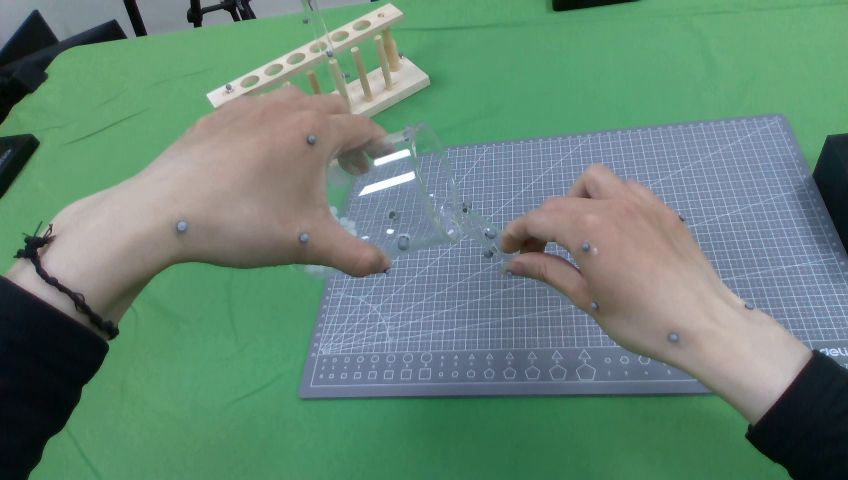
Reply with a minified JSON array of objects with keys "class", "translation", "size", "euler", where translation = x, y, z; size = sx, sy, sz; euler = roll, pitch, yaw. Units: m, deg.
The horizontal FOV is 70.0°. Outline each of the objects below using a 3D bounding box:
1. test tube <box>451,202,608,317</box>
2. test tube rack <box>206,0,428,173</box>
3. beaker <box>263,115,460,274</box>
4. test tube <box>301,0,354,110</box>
[{"class":"test tube","translation":[0.077,0.017,0.418],"size":[0.017,0.151,0.017],"euler":[-39,32,31]},{"class":"test tube rack","translation":[-0.120,-0.184,0.715],"size":[0.242,0.086,0.066],"euler":[-31,51,-12]},{"class":"beaker","translation":[-0.036,-0.023,0.365],"size":[0.100,0.085,0.073],"euler":[-15,66,17]},{"class":"test tube","translation":[-0.106,-0.209,0.674],"size":[0.017,0.152,0.017],"euler":[-7,49,9]}]
